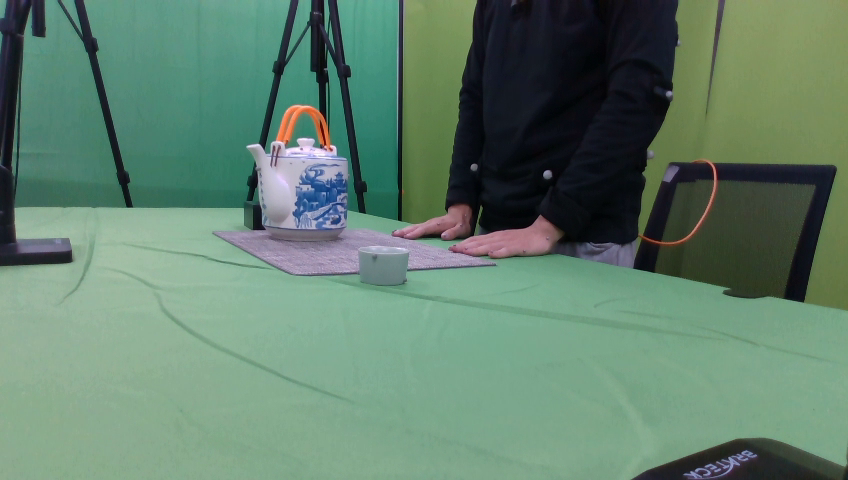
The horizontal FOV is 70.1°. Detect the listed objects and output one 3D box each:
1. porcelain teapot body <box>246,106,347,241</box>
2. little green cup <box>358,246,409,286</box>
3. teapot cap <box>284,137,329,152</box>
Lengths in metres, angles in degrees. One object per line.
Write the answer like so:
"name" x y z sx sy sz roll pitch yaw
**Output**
"porcelain teapot body" -0.219 -0.113 1.019 0.144 0.225 0.206 6 9 26
"little green cup" -0.048 0.030 0.707 0.061 0.038 0.061 1 8 0
"teapot cap" -0.205 -0.155 1.041 0.085 0.044 0.085 0 8 0
